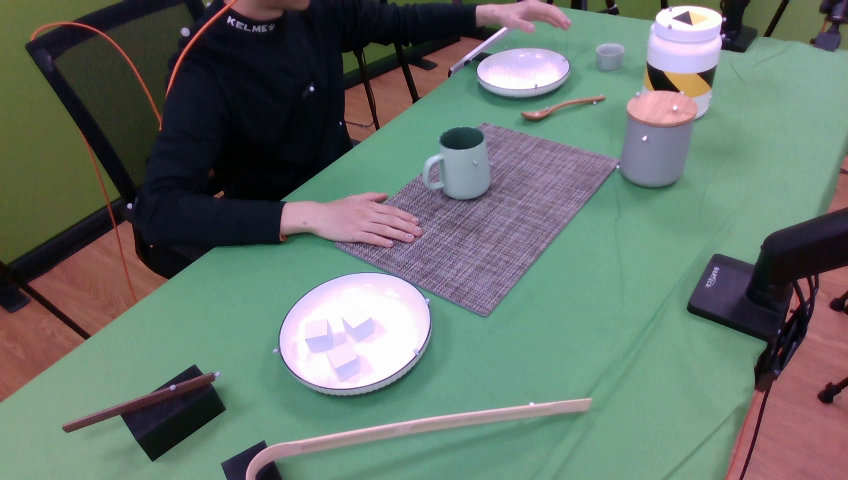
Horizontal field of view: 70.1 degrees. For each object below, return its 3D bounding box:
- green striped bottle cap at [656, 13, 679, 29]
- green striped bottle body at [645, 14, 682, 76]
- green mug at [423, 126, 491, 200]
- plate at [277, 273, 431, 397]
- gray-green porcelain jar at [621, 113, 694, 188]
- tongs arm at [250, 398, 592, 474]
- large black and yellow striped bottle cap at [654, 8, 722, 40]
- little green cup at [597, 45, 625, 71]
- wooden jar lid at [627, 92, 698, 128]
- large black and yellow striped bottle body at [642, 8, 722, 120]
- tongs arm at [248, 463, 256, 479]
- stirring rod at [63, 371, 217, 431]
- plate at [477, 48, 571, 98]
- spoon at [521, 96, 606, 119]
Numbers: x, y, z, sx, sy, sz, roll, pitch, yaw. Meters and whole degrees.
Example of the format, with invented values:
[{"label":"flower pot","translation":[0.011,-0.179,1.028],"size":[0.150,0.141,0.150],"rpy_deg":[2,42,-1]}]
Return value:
[{"label":"green striped bottle cap","translation":[0.515,-0.463,1.278],"size":[0.044,0.020,0.044],"rpy_deg":[-6,42,6]},{"label":"green striped bottle body","translation":[0.520,-0.424,1.312],"size":[0.063,0.120,0.063],"rpy_deg":[-4,41,4]},{"label":"green mug","translation":[0.055,-0.126,1.039],"size":[0.126,0.105,0.091],"rpy_deg":[-25,44,-19]},{"label":"plate","translation":[-0.091,0.129,0.821],"size":[0.207,0.039,0.206],"rpy_deg":[-4,40,4]},{"label":"gray-green porcelain jar","translation":[0.390,-0.161,1.020],"size":[0.106,0.127,0.105],"rpy_deg":[-4,41,4]},{"label":"tongs arm","translation":[0.008,0.212,0.675],"size":[0.389,0.028,0.028],"rpy_deg":[-5,45,-11]},{"label":"large black and yellow striped bottle cap","translation":[0.483,-0.397,1.108],"size":[0.115,0.019,0.114],"rpy_deg":[-3,41,3]},{"label":"little green cup","translation":[0.423,-0.413,1.376],"size":[0.061,0.039,0.061],"rpy_deg":[-3,41,3]},{"label":"wooden jar lid","translation":[0.384,-0.207,0.980],"size":[0.108,0.021,0.108],"rpy_deg":[-6,39,5]},{"label":"large black and yellow striped bottle body","translation":[0.493,-0.334,1.161],"size":[0.131,0.185,0.130],"rpy_deg":[-4,41,4]},{"label":"tongs arm","translation":[0.012,0.262,0.615],"size":[0.385,0.026,0.050],"rpy_deg":[3,41,-2]},{"label":"stirring rod","translation":[-0.337,0.192,0.723],"size":[0.177,0.014,0.005],"rpy_deg":[-18,43,-12]},{"label":"plate","translation":[0.223,-0.371,1.357],"size":[0.209,0.038,0.208],"rpy_deg":[-4,41,4]},{"label":"spoon","translation":[0.291,-0.277,1.249],"size":[0.194,0.022,0.041],"rpy_deg":[-17,22,-11]}]
